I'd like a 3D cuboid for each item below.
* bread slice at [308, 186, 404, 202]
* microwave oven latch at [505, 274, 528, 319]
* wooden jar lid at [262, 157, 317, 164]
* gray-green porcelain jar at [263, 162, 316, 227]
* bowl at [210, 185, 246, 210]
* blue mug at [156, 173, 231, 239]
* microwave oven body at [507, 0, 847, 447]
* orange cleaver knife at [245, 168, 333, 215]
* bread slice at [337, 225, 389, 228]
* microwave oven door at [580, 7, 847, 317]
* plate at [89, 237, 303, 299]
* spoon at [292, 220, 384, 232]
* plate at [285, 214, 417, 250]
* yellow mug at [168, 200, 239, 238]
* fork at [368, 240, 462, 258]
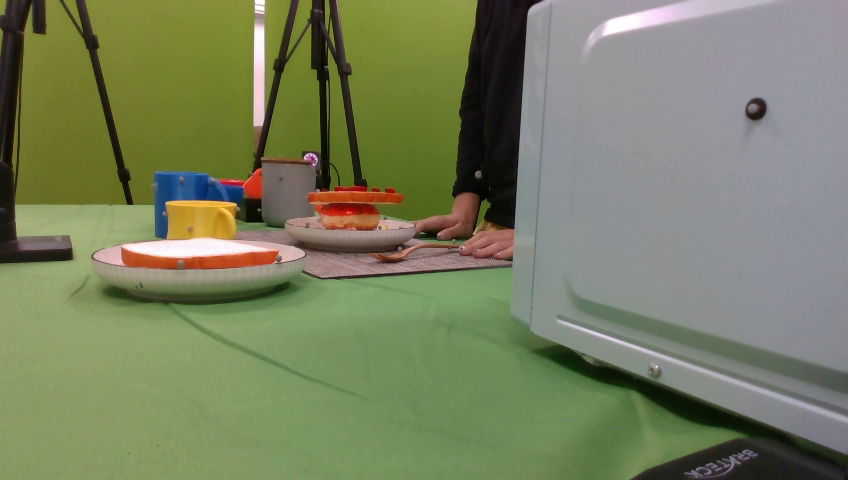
[{"bbox_3d":[-0.114,-0.071,0.952,0.134,0.018,0.107,-1,1,21],"label":"bread slice"},{"bbox_3d":[0.100,0.041,0.471,0.079,0.029,0.030,-1,7,-28],"label":"microwave oven latch"},{"bbox_3d":[-0.269,-0.154,1.208,0.108,0.020,0.108,3,5,0],"label":"wooden jar lid"},{"bbox_3d":[-0.271,-0.092,1.217,0.106,0.126,0.106,2,7,0],"label":"gray-green porcelain jar"},{"bbox_3d":[-0.422,-0.067,1.167,0.151,0.077,0.151,2,7,0],"label":"bowl"},{"bbox_3d":[-0.381,-0.057,1.004,0.117,0.106,0.082,1,8,-12],"label":"blue mug"},{"bbox_3d":[0.331,-0.042,0.425,0.444,0.260,0.324,-2,8,-31],"label":"microwave oven body"},{"bbox_3d":[-0.300,-0.089,1.351,0.212,0.077,0.012,29,-9,-34],"label":"orange cleaver knife"},{"bbox_3d":[-0.103,-0.010,0.961,0.131,0.019,0.105,2,8,25],"label":"bread slice"},{"bbox_3d":[0.295,-0.067,0.570,0.358,0.243,0.039,-3,9,-31],"label":"microwave oven door"},{"bbox_3d":[-0.233,0.029,0.637,0.208,0.039,0.207,2,7,0],"label":"plate"},{"bbox_3d":[-0.153,-0.028,1.123,0.195,0.021,0.041,-5,-11,-39],"label":"spoon"},{"bbox_3d":[-0.116,-0.014,0.964,0.209,0.038,0.209,2,8,0],"label":"plate"},{"bbox_3d":[-0.319,-0.023,0.904,0.130,0.064,0.100,9,11,36],"label":"yellow mug"},{"bbox_3d":[-0.005,0.011,0.874,0.028,0.018,0.208,-2,5,37],"label":"fork"}]
